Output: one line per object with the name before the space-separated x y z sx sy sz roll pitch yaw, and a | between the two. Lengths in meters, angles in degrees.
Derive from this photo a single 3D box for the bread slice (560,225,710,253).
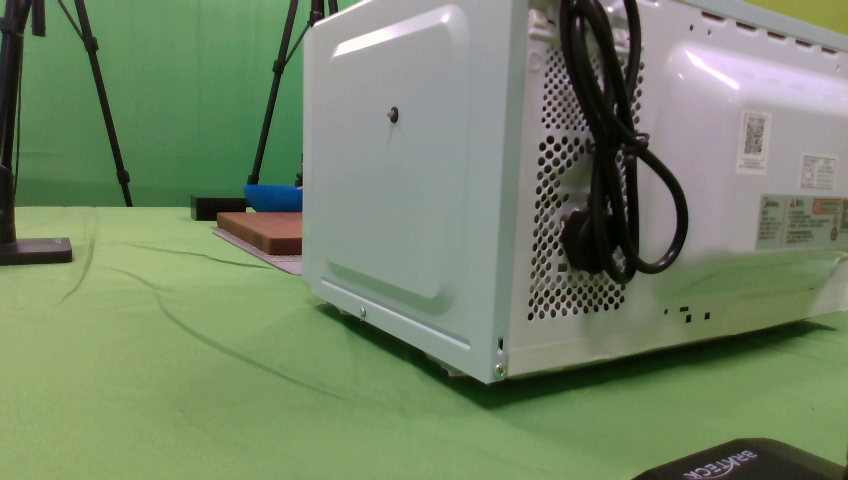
bread slice | 0.206 -0.003 0.579 0.105 0.019 0.131 3 3 -14

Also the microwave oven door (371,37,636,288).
microwave oven door | 0.110 -0.080 0.687 0.358 0.243 0.039 -2 9 -33

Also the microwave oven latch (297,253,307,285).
microwave oven latch | -0.082 0.027 0.583 0.079 0.029 0.030 -1 7 -33

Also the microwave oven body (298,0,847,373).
microwave oven body | 0.151 -0.055 0.543 0.444 0.260 0.324 -1 7 -33

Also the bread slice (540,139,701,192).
bread slice | 0.195 -0.073 0.586 0.107 0.018 0.133 -2 21 -38

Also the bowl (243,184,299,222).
bowl | -0.321 -0.081 1.334 0.151 0.077 0.151 3 7 0

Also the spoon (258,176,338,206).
spoon | -0.279 -0.112 1.357 0.194 0.021 0.041 -28 19 -27

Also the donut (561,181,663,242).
donut | 0.186 -0.029 0.603 0.099 0.048 0.099 10 -9 2
